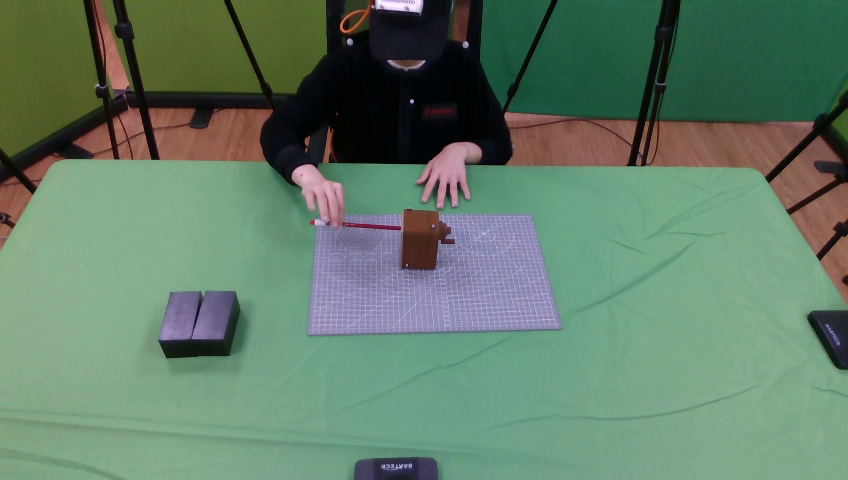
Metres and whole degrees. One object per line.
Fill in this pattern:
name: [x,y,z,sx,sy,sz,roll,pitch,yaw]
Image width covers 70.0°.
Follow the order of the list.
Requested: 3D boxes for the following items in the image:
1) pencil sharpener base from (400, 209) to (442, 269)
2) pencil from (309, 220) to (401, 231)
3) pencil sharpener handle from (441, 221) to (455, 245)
pencil sharpener base: [-0.006,0.000,1.134,0.077,0.107,0.061,2,45,-2]
pencil: [-0.114,-0.025,1.111,0.194,0.012,0.012,4,46,-1]
pencil sharpener handle: [0.046,-0.011,1.130,0.030,0.068,0.036,2,62,-2]
